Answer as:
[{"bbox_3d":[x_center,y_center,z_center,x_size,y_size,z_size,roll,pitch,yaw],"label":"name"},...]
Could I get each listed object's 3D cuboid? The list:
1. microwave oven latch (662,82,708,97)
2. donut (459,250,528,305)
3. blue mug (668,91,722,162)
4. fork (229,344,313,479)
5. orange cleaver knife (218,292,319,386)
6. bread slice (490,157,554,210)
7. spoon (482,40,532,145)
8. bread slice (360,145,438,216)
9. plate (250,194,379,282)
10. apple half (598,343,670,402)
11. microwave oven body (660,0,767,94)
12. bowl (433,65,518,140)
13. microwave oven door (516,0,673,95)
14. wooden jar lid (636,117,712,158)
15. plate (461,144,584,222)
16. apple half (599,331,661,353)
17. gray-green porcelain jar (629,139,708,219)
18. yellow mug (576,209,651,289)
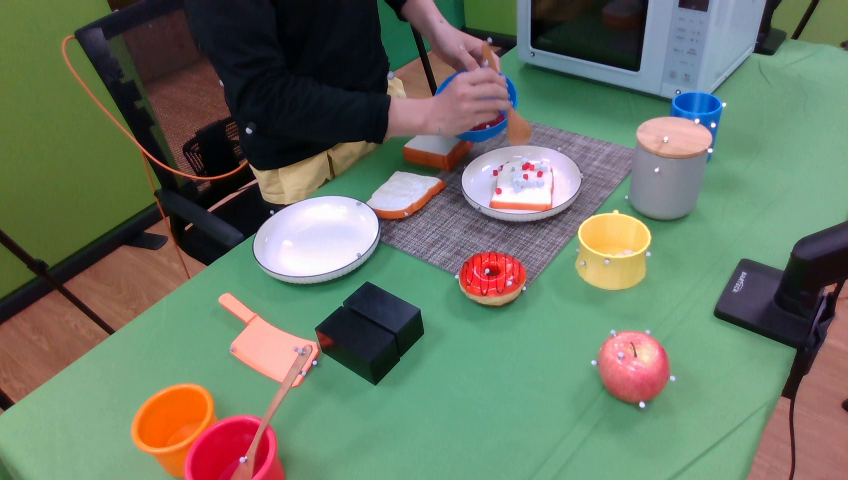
[{"bbox_3d":[0.518,-0.298,1.202,0.078,0.029,0.030,28,53,35],"label":"microwave oven latch"},{"bbox_3d":[0.100,0.053,0.872,0.099,0.048,0.098,-5,40,4],"label":"donut"},{"bbox_3d":[0.474,-0.207,1.079,0.082,0.106,0.116,4,42,13],"label":"blue mug"},{"bbox_3d":[-0.173,0.205,0.662,0.028,0.019,0.207,29,94,35],"label":"fork"},{"bbox_3d":[-0.235,0.136,0.850,0.209,0.012,0.077,25,57,30],"label":"orange cleaver knife"},{"bbox_3d":[0.174,-0.099,1.048,0.104,0.019,0.131,4,45,12],"label":"bread slice"},{"bbox_3d":[0.123,-0.220,0.925,0.041,0.195,0.021,-28,37,5],"label":"spoon"},{"bbox_3d":[-0.053,-0.103,1.046,0.106,0.018,0.134,19,67,22],"label":"bread slice"},{"bbox_3d":[-0.174,0.000,0.984,0.209,0.038,0.208,-3,40,3],"label":"plate"},{"bbox_3d":[0.247,0.161,0.710,0.081,0.075,0.053,2,47,5],"label":"apple half"},{"bbox_3d":[0.473,-0.516,1.313,0.438,0.261,0.327,26,51,34],"label":"microwave oven body"},{"bbox_3d":[0.095,-0.234,1.097,0.151,0.077,0.150,-3,61,7],"label":"bowl"},{"bbox_3d":[0.344,-0.458,1.257,0.353,0.245,0.039,26,52,33],"label":"microwave oven door"},{"bbox_3d":[0.377,-0.151,0.917,0.108,0.021,0.108,-2,41,3],"label":"wooden jar lid"},{"bbox_3d":[0.167,-0.095,1.040,0.207,0.039,0.206,-4,41,4],"label":"plate"},{"bbox_3d":[0.249,0.134,0.738,0.081,0.081,0.032,-1,46,7],"label":"apple half"},{"bbox_3d":[0.383,-0.105,0.958,0.106,0.127,0.105,-4,41,4],"label":"gray-green porcelain jar"},{"bbox_3d":[0.279,0.004,0.893,0.099,0.064,0.130,6,42,14],"label":"yellow mug"}]
